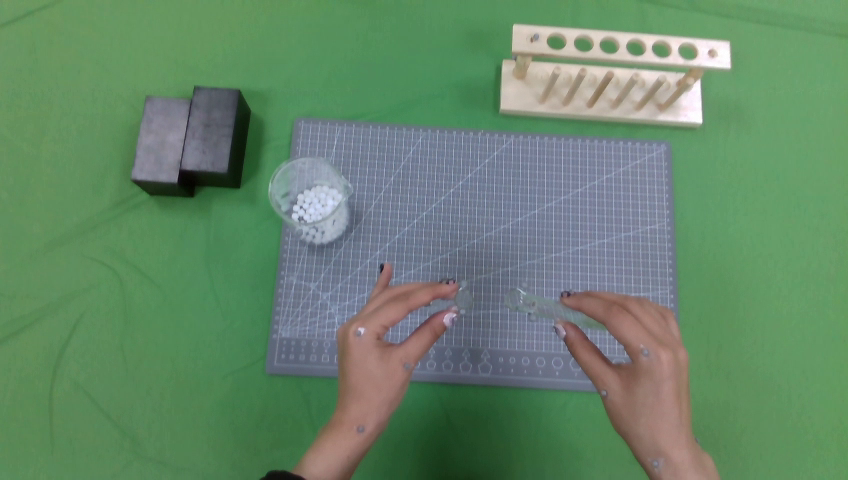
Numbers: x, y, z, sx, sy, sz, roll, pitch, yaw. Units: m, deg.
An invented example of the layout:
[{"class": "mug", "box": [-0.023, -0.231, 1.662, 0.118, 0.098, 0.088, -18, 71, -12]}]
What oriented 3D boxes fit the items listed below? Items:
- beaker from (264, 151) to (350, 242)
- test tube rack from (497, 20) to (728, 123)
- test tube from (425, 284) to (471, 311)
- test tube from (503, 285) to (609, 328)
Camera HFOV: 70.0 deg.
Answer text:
[{"class": "beaker", "box": [-0.117, -0.041, 0.643, 0.084, 0.100, 0.073, -4, 77, -4]}, {"class": "test tube rack", "box": [0.212, -0.192, 0.702, 0.242, 0.085, 0.066, 4, 76, -1]}, {"class": "test tube", "box": [0.018, 0.053, 0.530, 0.017, 0.150, 0.017, 1, 82, -8]}, {"class": "test tube", "box": [0.110, 0.055, 0.484, 0.017, 0.151, 0.017, -13, 69, 39]}]
